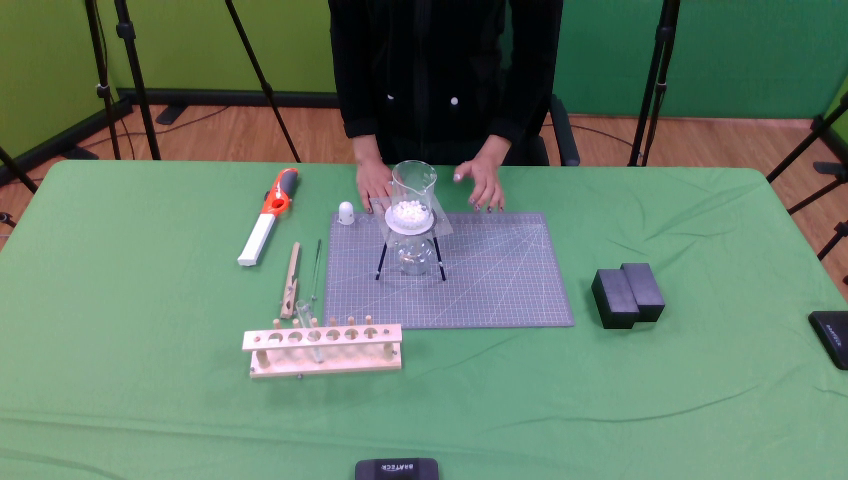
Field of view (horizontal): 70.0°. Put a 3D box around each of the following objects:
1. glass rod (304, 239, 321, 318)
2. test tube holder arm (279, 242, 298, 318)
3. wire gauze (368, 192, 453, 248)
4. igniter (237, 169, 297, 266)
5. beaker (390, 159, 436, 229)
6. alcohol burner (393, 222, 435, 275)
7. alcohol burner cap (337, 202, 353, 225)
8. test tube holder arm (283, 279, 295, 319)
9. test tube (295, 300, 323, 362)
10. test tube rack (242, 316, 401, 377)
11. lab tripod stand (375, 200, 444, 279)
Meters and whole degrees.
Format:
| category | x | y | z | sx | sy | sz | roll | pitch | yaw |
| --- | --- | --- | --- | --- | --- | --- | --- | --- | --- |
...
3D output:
| category | x | y | z | sx | sy | sz | roll | pitch | yaw |
| --- | --- | --- | --- | --- | --- | --- | --- | --- | --- |
| glass rod | -0.207 | 0.068 | 1.127 | 0.008 | 0.008 | 0.198 | 2 | 43 | -2 |
| test tube holder arm | -0.248 | 0.069 | 1.114 | 0.013 | 0.015 | 0.177 | 25 | 38 | -26 |
| wire gauze | -0.025 | -0.041 | 1.065 | 0.122 | 0.011 | 0.124 | -10 | 46 | -18 |
| igniter | -0.313 | -0.055 | 1.224 | 0.057 | 0.025 | 0.275 | 1 | 45 | 10 |
| beaker | -0.020 | -0.073 | 1.029 | 0.074 | 0.101 | 0.083 | -10 | 48 | -16 |
| alcohol burner | -0.018 | 0.009 | 1.122 | 0.078 | 0.119 | 0.077 | 3 | 48 | -3 |
| alcohol burner cap | -0.161 | -0.056 | 1.223 | 0.034 | 0.048 | 0.033 | 2 | 46 | -2 |
| test tube holder arm | -0.241 | 0.103 | 1.085 | 0.010 | 0.015 | 0.087 | 25 | 38 | -26 |
| test tube | -0.176 | 0.143 | 0.935 | 0.017 | 0.151 | 0.017 | -2 | 46 | 2 |
| test tube rack | -0.161 | 0.166 | 0.983 | 0.242 | 0.085 | 0.066 | -2 | 46 | -6 |
| lab tripod stand | -0.023 | 0.004 | 1.114 | 0.148 | 0.132 | 0.147 | 4 | 45 | -3 |
